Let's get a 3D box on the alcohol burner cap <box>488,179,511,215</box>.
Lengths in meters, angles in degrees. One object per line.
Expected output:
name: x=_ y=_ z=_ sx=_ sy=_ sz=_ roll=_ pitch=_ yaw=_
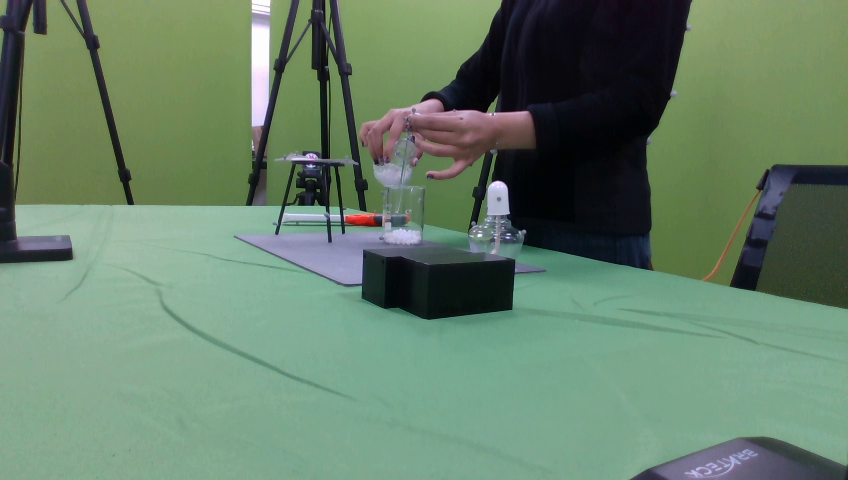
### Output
alcohol burner cap: x=0.101 y=-0.058 z=0.816 sx=0.034 sy=0.048 sz=0.034 roll=-4 pitch=8 yaw=1

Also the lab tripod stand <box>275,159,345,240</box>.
lab tripod stand: x=-0.181 y=-0.072 z=1.039 sx=0.148 sy=0.131 sz=0.148 roll=4 pitch=8 yaw=0

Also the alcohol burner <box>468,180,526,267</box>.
alcohol burner: x=0.101 y=-0.022 z=0.822 sx=0.078 sy=0.119 sz=0.078 roll=4 pitch=8 yaw=0

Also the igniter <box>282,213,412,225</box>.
igniter: x=-0.159 y=-0.046 z=1.286 sx=0.278 sy=0.025 sz=0.057 roll=0 pitch=-3 yaw=-22

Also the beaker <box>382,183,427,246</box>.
beaker: x=-0.033 y=-0.044 z=1.008 sx=0.074 sy=0.100 sz=0.084 roll=6 pitch=8 yaw=22

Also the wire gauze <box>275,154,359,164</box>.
wire gauze: x=-0.179 y=-0.137 z=1.028 sx=0.121 sy=0.011 sz=0.125 roll=4 pitch=8 yaw=0

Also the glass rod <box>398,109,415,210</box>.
glass rod: x=-0.028 y=-0.123 z=0.969 sx=0.008 sy=0.199 sz=0.008 roll=6 pitch=44 yaw=-5

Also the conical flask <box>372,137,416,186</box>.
conical flask: x=-0.044 y=-0.140 z=1.029 sx=0.075 sy=0.075 sz=0.121 roll=0 pitch=-9 yaw=-14
